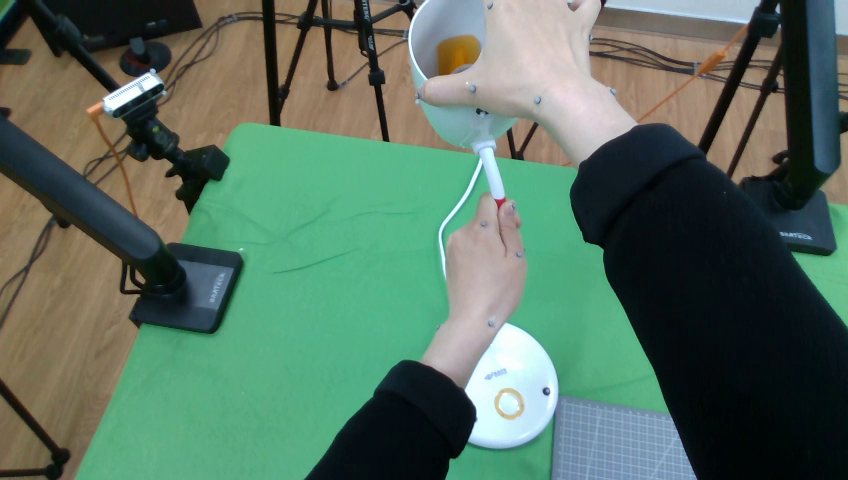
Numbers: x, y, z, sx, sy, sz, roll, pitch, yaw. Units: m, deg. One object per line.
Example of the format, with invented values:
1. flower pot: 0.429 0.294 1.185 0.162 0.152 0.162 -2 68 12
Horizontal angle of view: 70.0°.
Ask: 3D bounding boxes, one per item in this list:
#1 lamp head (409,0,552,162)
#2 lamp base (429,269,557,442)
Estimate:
1. lamp head: 0.043 -0.130 0.512 0.112 0.124 0.111 0 65 0
2. lamp base: 0.080 0.123 0.698 0.161 0.182 0.177 -28 61 -17
